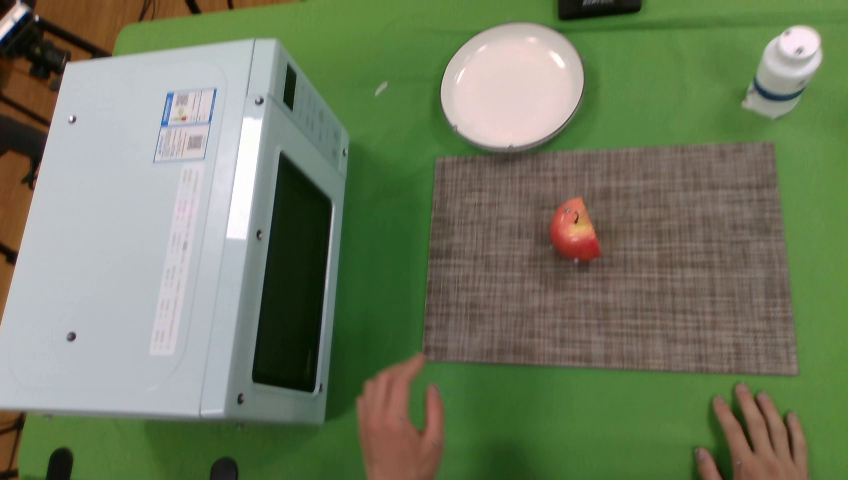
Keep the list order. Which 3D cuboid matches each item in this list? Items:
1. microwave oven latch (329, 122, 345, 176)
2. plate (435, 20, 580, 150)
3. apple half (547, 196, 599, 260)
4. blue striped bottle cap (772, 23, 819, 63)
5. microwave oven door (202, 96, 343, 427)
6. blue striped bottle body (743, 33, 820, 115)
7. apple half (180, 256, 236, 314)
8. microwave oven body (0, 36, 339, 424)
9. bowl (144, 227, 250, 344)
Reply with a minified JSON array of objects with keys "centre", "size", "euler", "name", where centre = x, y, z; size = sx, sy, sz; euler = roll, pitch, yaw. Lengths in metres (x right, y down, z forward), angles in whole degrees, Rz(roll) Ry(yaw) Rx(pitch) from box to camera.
[{"centre":[-0.134,-0.135,0.898],"size":[0.030,0.030,0.078],"euler":[-2,73,13],"name":"microwave oven latch"},{"centre":[0.121,-0.221,0.881],"size":[0.207,0.039,0.206],"euler":[-4,72,13],"name":"plate"},{"centre":[0.185,-0.009,0.772],"size":[0.053,0.075,0.080],"euler":[-21,72,11],"name":"apple half"},{"centre":[0.430,-0.228,0.702],"size":[0.044,0.021,0.044],"euler":[-4,74,14],"name":"blue striped bottle cap"},{"centre":[-0.170,0.041,0.740],"size":[0.039,0.246,0.353],"euler":[-2,72,14],"name":"microwave oven door"},{"centre":[0.443,-0.211,0.749],"size":[0.063,0.122,0.062],"euler":[-4,71,13],"name":"blue striped bottle body"},{"centre":[-0.290,0.060,0.800],"size":[0.081,0.033,0.081],"euler":[-1,87,10],"name":"apple half"},{"centre":[-0.309,0.009,0.792],"size":[0.325,0.262,0.439],"euler":[-2,73,13],"name":"microwave oven body"},{"centre":[-0.287,0.064,0.810],"size":[0.151,0.077,0.151],"euler":[-3,81,19],"name":"bowl"}]
